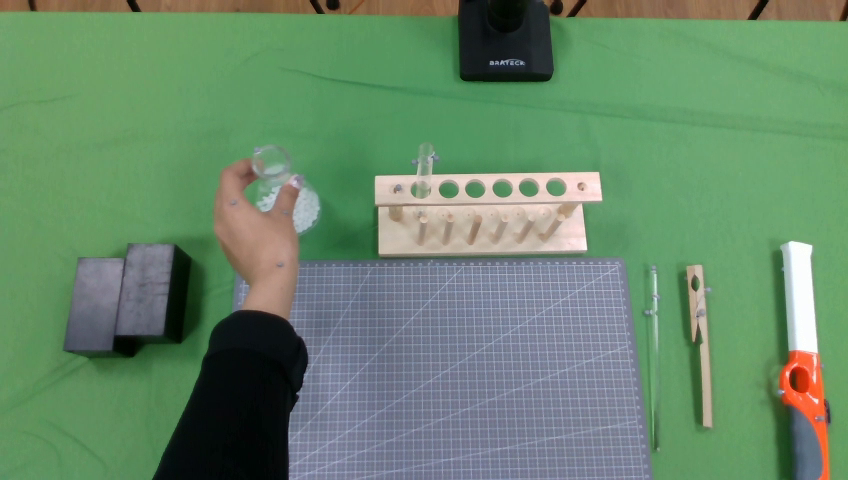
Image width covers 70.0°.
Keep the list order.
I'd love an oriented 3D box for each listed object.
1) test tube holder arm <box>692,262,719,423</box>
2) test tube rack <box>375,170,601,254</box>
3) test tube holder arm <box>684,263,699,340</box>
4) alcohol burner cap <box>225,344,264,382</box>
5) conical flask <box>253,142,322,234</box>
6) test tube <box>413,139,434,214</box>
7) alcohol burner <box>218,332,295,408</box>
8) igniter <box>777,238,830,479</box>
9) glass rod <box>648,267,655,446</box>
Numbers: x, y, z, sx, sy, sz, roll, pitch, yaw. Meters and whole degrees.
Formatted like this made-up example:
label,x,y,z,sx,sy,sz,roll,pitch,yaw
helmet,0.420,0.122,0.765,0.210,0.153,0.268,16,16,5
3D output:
label,x,y,z,sx,sy,sz,roll,pitch,yaw
test tube holder arm,0.312,0.111,0.675,0.013,0.015,0.177,-13,67,34
test tube rack,0.068,-0.030,0.681,0.242,0.085,0.066,-1,72,-2
test tube holder arm,0.308,0.070,0.692,0.010,0.015,0.087,-11,68,35
alcohol burner cap,-0.171,0.114,0.571,0.034,0.048,0.033,2,68,-5
conical flask,-0.151,-0.059,0.644,0.075,0.122,0.075,2,71,-4
test tube,-0.002,-0.062,0.638,0.017,0.151,0.017,1,69,-3
alcohol burner,-0.172,0.127,0.605,0.078,0.120,0.077,0,71,1
igniter,0.416,0.131,0.668,0.057,0.025,0.275,11,72,-9
glass rod,0.254,0.126,0.675,0.008,0.008,0.198,6,74,0
